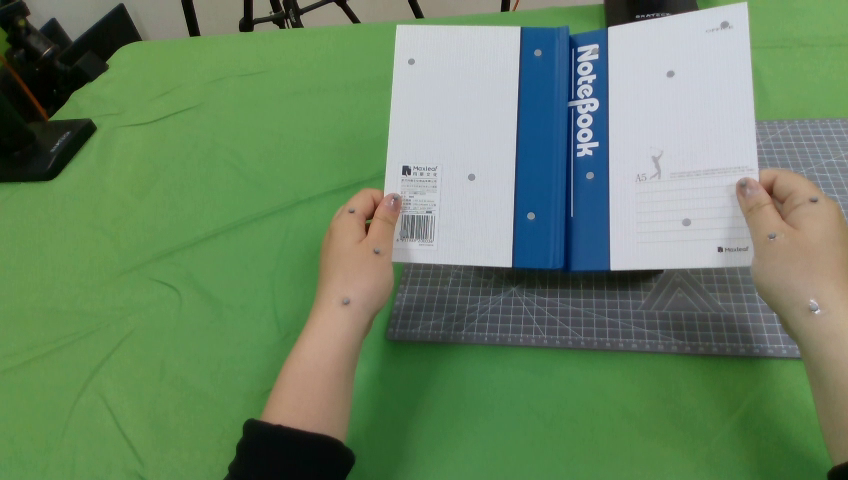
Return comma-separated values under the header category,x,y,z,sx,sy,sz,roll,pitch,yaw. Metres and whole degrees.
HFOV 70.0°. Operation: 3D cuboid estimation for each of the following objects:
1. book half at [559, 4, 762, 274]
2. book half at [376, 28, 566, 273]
category,x,y,z,sx,sy,sz,roll,pitch,yaw
book half,0.178,-0.077,0.475,0.142,0.007,0.209,-3,76,25
book half,0.041,-0.078,0.503,0.148,0.016,0.209,3,78,4
